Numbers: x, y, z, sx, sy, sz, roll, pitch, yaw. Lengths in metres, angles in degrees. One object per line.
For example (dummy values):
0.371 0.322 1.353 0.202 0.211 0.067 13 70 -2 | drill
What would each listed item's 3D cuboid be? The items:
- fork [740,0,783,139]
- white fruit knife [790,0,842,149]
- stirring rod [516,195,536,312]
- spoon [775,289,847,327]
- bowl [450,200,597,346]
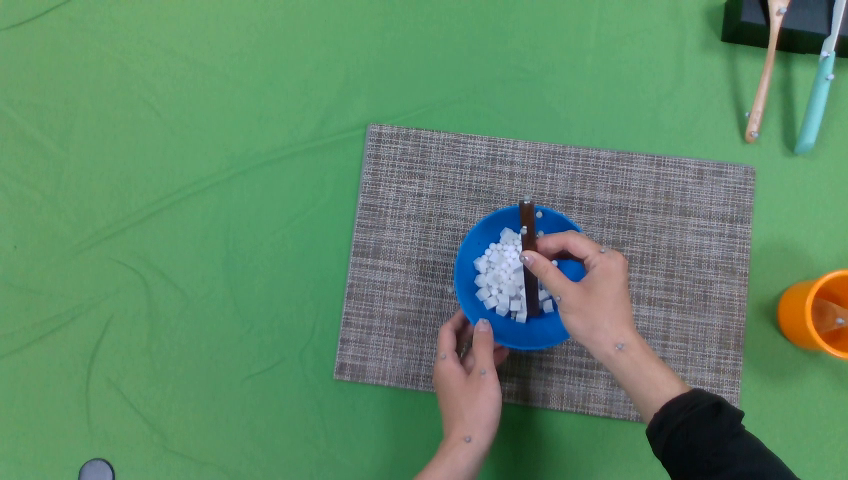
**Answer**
0.380 -0.217 0.675 0.028 0.018 0.208 4 104 -1 | fork
0.441 -0.205 0.671 0.016 0.027 0.208 8 100 0 | white fruit knife
0.099 0.019 0.586 0.014 0.178 0.006 4 51 15 | stirring rod
0.463 0.077 0.610 0.022 0.192 0.041 15 82 -42 | spoon
0.102 0.037 0.653 0.151 0.077 0.151 0 83 2 | bowl
